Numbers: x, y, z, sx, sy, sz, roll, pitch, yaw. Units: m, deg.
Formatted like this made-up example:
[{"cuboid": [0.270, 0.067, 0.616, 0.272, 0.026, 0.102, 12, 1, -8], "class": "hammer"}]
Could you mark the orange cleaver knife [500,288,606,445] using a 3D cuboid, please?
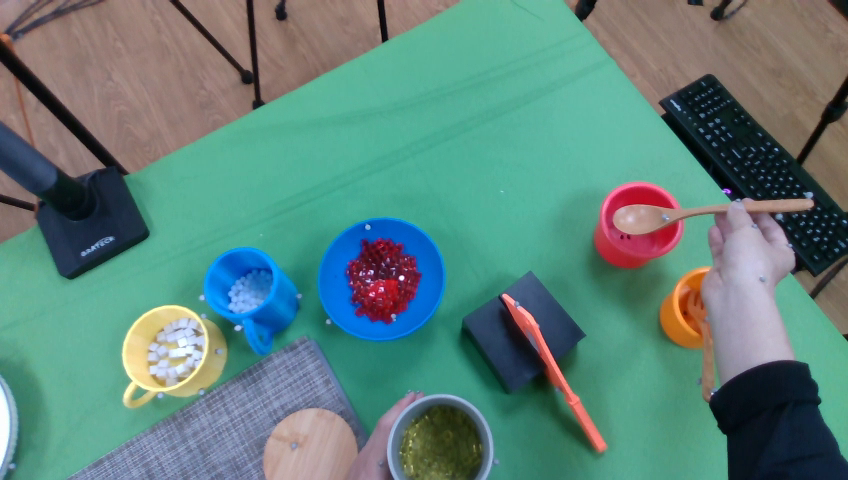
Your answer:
[{"cuboid": [0.147, 0.145, 0.698, 0.012, 0.077, 0.212, -34, 104, -10], "class": "orange cleaver knife"}]

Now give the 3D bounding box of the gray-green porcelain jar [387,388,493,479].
[{"cuboid": [0.018, 0.218, 0.654, 0.106, 0.127, 0.105, 0, 71, 2], "class": "gray-green porcelain jar"}]

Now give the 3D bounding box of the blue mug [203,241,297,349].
[{"cuboid": [-0.201, 0.071, 0.718, 0.082, 0.106, 0.115, -11, 72, -2], "class": "blue mug"}]

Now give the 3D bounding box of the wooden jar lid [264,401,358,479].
[{"cuboid": [-0.129, 0.242, 0.701, 0.108, 0.021, 0.107, 0, 73, 1], "class": "wooden jar lid"}]

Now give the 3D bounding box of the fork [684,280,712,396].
[{"cuboid": [0.307, 0.102, 0.673, 0.028, 0.019, 0.206, 29, 31, 5], "class": "fork"}]

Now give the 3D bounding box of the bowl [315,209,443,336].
[{"cuboid": [-0.050, 0.048, 0.737, 0.151, 0.077, 0.150, 0, 72, 1], "class": "bowl"}]

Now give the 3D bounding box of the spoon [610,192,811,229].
[{"cuboid": [0.292, -0.036, 0.636, 0.193, 0.022, 0.041, -6, 51, 40], "class": "spoon"}]

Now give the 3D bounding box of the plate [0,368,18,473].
[{"cuboid": [-0.577, 0.228, 0.710, 0.208, 0.039, 0.206, 0, 72, 1], "class": "plate"}]

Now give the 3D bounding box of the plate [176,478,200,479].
[{"cuboid": [-0.262, 0.367, 0.654, 0.209, 0.038, 0.208, 0, 72, 2], "class": "plate"}]

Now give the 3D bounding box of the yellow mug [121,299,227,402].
[{"cuboid": [-0.305, 0.138, 0.719, 0.099, 0.064, 0.130, 35, 77, 12], "class": "yellow mug"}]
